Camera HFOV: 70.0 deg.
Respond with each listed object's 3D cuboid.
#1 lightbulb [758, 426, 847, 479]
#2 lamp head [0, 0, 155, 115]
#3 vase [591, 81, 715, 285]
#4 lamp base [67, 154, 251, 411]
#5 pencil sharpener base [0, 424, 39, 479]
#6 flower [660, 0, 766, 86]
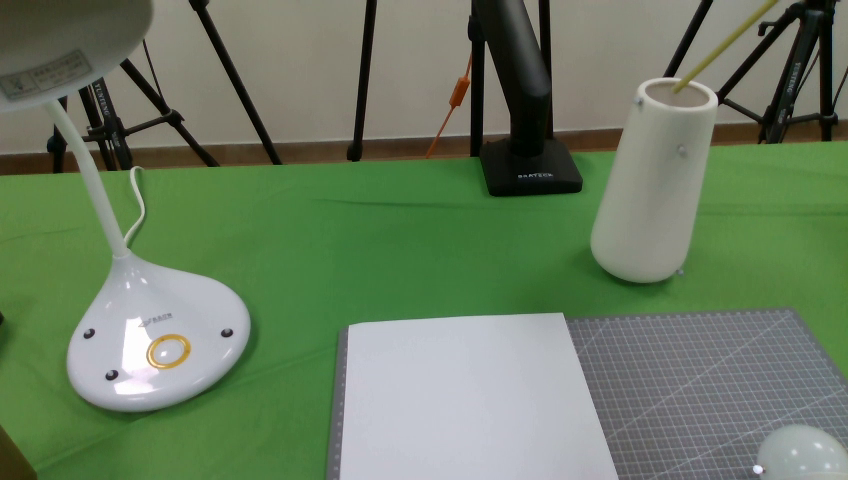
[{"bbox_3d":[0.272,0.184,0.420,0.059,0.060,0.106,0,54,2],"label":"lightbulb"},{"bbox_3d":[-0.213,-0.136,0.292,0.112,0.112,0.123,-35,87,-35],"label":"lamp head"},{"bbox_3d":[0.225,-0.051,0.602,0.098,0.202,0.097,-1,37,1],"label":"vase"},{"bbox_3d":[-0.253,0.026,0.524,0.161,0.182,0.177,-29,44,-31],"label":"lamp base"},{"bbox_3d":[-0.307,0.169,0.404,0.061,0.108,0.076,-21,43,-23],"label":"pencil sharpener base"},{"bbox_3d":[0.274,-0.205,0.373,0.038,0.362,0.044,-10,72,-27],"label":"flower"}]
